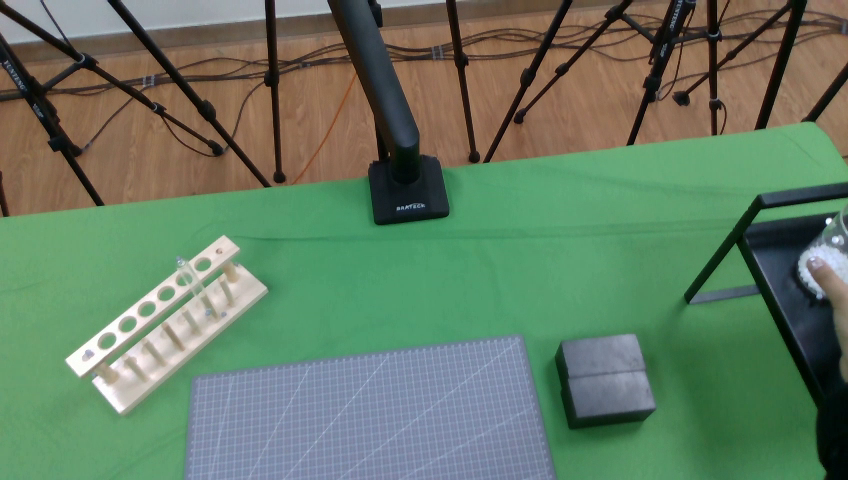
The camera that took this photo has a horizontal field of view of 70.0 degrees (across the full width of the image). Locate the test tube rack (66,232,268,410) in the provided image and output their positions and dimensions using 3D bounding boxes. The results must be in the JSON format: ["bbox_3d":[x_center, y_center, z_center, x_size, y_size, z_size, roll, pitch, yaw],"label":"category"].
[{"bbox_3d":[-0.331,0.104,0.808,0.066,0.086,0.242,37,65,21],"label":"test tube rack"}]

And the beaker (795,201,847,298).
[{"bbox_3d":[0.459,0.009,0.655,0.074,0.101,0.083,-3,57,-3],"label":"beaker"}]

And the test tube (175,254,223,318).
[{"bbox_3d":[-0.289,0.062,0.782,0.017,0.151,0.017,0,57,1],"label":"test tube"}]
